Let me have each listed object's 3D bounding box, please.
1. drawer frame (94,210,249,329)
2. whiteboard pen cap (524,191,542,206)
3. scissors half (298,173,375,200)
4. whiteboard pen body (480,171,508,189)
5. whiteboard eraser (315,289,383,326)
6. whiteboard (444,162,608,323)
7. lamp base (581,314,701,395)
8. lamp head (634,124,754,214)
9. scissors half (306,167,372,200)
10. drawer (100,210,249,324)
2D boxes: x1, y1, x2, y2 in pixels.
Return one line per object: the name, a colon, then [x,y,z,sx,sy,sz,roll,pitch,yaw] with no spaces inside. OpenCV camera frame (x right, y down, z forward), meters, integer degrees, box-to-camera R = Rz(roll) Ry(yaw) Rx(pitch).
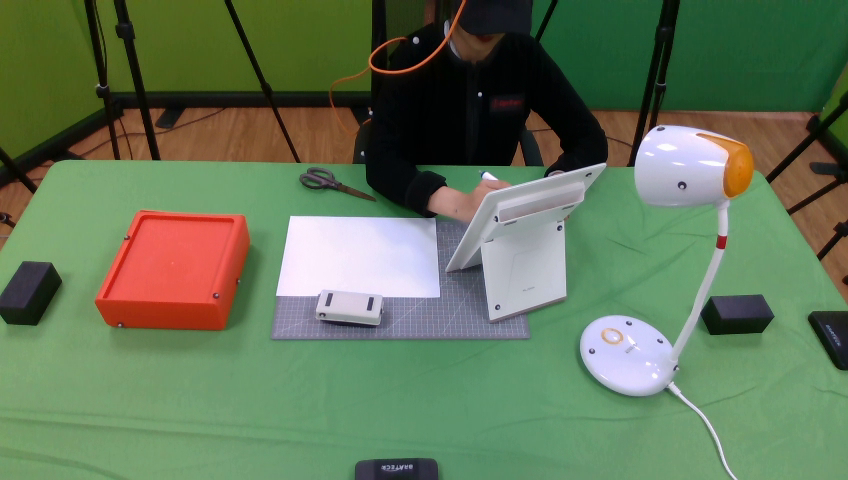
drawer frame: [-0.435,0.048,1.076,0.202,0.083,0.212,2,47,-3]
whiteboard pen cap: [0.207,-0.080,1.156,0.033,0.018,0.018,29,46,-12]
scissors half: [-0.188,-0.110,1.296,0.175,0.013,0.040,15,42,5]
whiteboard pen body: [0.156,-0.086,1.093,0.017,0.017,0.140,-33,58,-30]
whiteboard eraser: [-0.130,0.119,1.054,0.113,0.042,0.055,6,48,1]
whiteboard: [0.186,0.025,1.029,0.217,0.306,0.143,-14,68,-18]
lamp base: [0.361,0.145,0.972,0.178,0.181,0.160,34,53,23]
lamp head: [0.351,-0.089,0.776,0.112,0.113,0.122,-30,30,-28]
scissors half: [-0.180,-0.121,1.311,0.174,0.013,0.040,27,39,18]
drawer: [-0.435,0.044,1.081,0.194,0.073,0.210,3,47,-2]
